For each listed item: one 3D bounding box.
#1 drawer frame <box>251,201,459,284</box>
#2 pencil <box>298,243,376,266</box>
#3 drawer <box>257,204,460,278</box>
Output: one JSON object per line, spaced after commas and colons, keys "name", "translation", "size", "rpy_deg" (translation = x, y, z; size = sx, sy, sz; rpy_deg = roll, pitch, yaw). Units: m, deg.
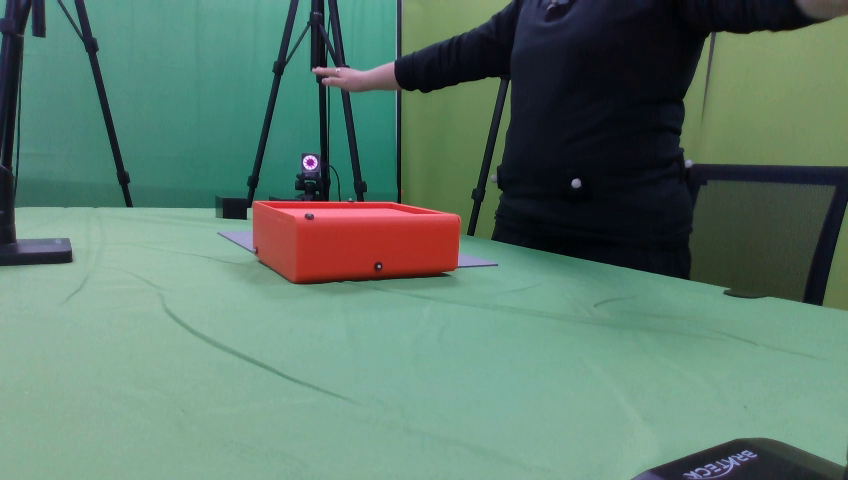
{"name": "drawer frame", "translation": [-0.095, -0.005, 0.788], "size": [0.215, 0.082, 0.200], "rpy_deg": [-3, 10, -30]}
{"name": "pencil", "translation": [-0.107, 0.016, 0.791], "size": [0.012, 0.012, 0.195], "rpy_deg": [6, 8, 22]}
{"name": "drawer", "translation": [-0.090, -0.004, 0.793], "size": [0.213, 0.073, 0.193], "rpy_deg": [-3, 10, -29]}
